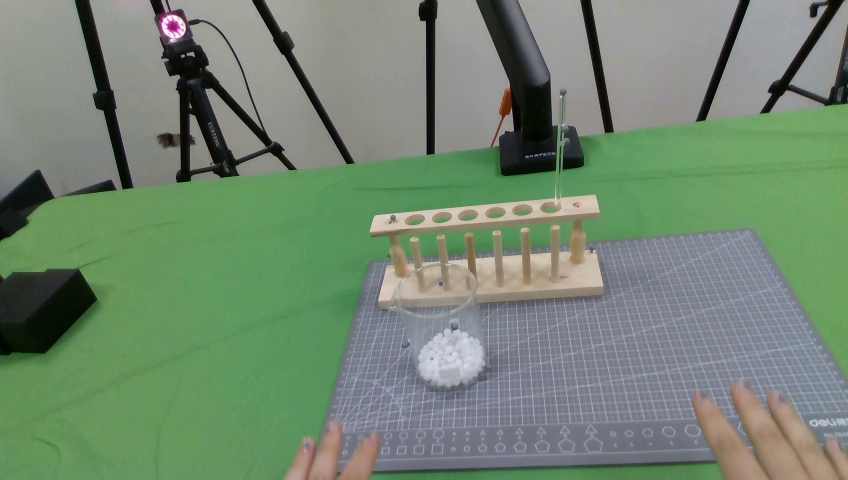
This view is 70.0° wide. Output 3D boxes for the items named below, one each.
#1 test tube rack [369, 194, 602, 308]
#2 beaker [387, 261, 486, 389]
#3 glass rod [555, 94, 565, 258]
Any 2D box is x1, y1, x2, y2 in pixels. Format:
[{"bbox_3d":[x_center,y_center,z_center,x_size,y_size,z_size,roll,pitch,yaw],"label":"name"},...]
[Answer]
[{"bbox_3d":[0.065,0.014,0.657,0.242,0.086,0.066,-5,35,10],"label":"test tube rack"},{"bbox_3d":[0.015,0.082,0.560,0.084,0.101,0.073,-16,34,-6],"label":"beaker"},{"bbox_3d":[0.137,-0.053,0.614,0.008,0.201,0.008,-5,37,4],"label":"glass rod"}]
